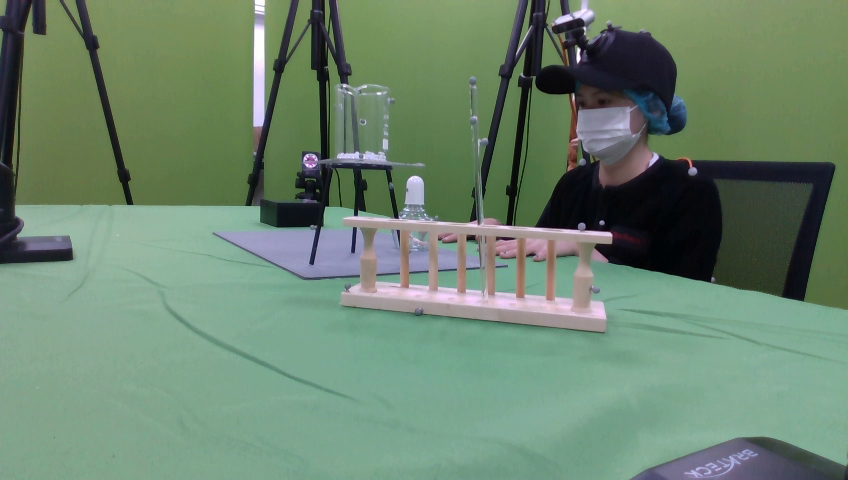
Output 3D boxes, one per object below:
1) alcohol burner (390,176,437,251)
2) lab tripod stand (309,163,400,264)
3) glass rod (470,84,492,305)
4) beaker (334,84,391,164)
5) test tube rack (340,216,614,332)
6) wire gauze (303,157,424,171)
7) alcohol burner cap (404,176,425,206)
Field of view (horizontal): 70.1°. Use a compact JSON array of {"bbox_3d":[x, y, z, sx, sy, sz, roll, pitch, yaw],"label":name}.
[{"bbox_3d":[-0.016,-0.042,0.955,0.078,0.119,0.078,4,5,0],"label":"alcohol burner"},{"bbox_3d":[-0.091,-0.037,0.813,0.148,0.131,0.148,1,6,0],"label":"lab tripod stand"},{"bbox_3d":[0.051,-0.036,0.535,0.008,0.199,0.008,-5,10,1],"label":"glass rod"},{"bbox_3d":[-0.082,-0.149,0.792,0.074,0.100,0.084,2,5,5],"label":"beaker"},{"bbox_3d":[0.048,0.026,0.568,0.242,0.085,0.067,4,8,13],"label":"test tube rack"},{"bbox_3d":[-0.082,-0.101,0.799,0.126,0.011,0.121,1,7,-30],"label":"wire gauze"},{"bbox_3d":[-0.015,-0.077,0.951,0.034,0.048,0.034,2,4,0],"label":"alcohol burner cap"}]
